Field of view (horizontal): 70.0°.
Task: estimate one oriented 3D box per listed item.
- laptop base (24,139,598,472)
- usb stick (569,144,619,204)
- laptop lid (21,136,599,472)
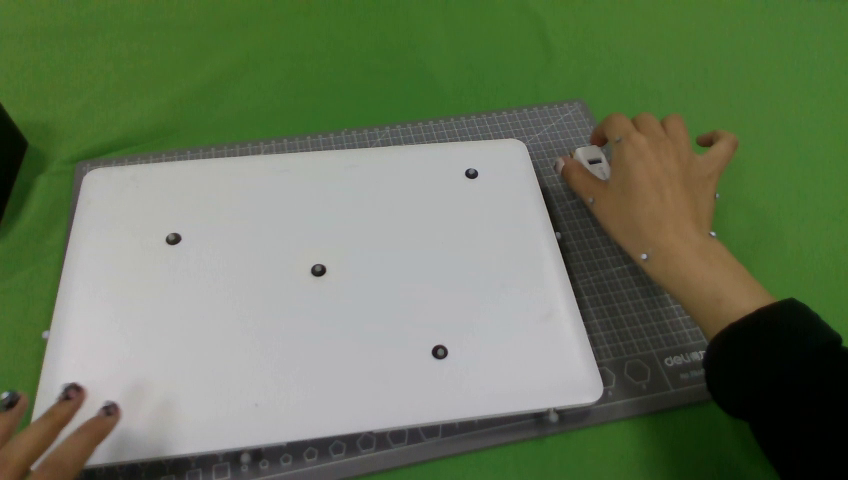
[{"bbox_3d":[-0.075,0.028,0.438,0.355,0.023,0.233,-5,58,-7],"label":"laptop base"},{"bbox_3d":[0.138,-0.060,0.505,0.021,0.027,0.058,-11,52,-10],"label":"usb stick"},{"bbox_3d":[-0.074,0.023,0.427,0.357,0.013,0.239,-4,57,-6],"label":"laptop lid"}]
